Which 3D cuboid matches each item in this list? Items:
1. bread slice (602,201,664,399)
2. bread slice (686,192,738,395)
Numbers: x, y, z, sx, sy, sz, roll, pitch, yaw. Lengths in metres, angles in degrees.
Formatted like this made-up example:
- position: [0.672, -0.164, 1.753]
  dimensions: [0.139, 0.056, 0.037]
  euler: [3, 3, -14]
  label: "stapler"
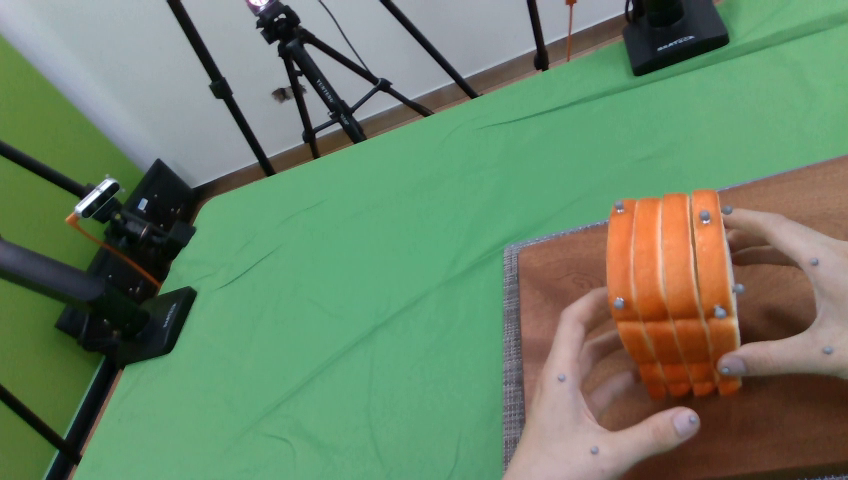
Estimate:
- position: [0.156, 0.036, 0.444]
  dimensions: [0.018, 0.136, 0.106]
  euler: [-7, 46, 29]
  label: "bread slice"
- position: [0.199, 0.033, 0.419]
  dimensions: [0.019, 0.133, 0.104]
  euler: [-8, 50, 25]
  label: "bread slice"
